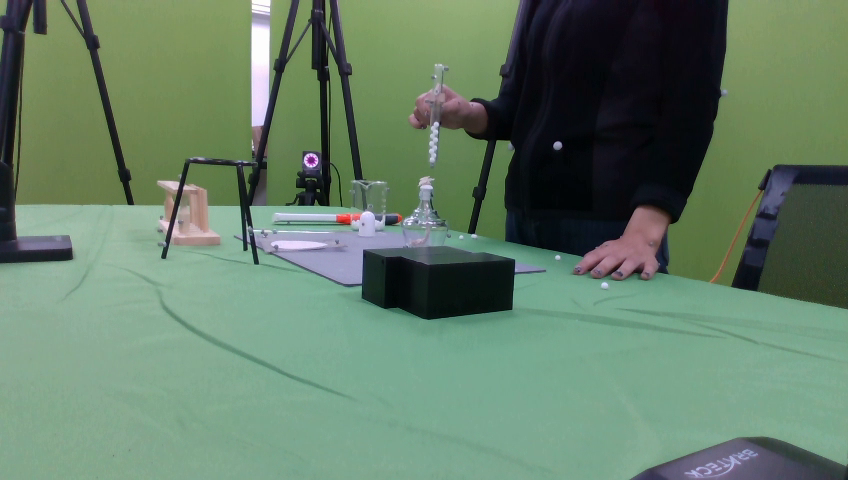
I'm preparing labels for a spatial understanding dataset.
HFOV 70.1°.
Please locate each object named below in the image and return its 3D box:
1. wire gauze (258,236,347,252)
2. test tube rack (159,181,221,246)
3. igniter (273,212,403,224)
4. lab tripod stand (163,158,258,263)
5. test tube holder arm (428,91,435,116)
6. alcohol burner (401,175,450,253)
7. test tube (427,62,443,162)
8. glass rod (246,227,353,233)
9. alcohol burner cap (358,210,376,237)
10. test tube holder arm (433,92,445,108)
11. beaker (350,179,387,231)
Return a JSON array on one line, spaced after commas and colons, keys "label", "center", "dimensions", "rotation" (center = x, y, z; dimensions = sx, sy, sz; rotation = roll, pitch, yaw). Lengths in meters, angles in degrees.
[{"label": "wire gauze", "center": [-0.189, 0.005, 0.931], "dimensions": [0.122, 0.011, 0.124], "rotation": [1, 7, -21]}, {"label": "test tube rack", "center": [-0.395, -0.050, 1.010], "dimensions": [0.067, 0.085, 0.241], "rotation": [-2, 8, -28]}, {"label": "igniter", "center": [-0.179, -0.048, 1.290], "dimensions": [0.278, 0.025, 0.057], "rotation": [-1, -2, -24]}, {"label": "lab tripod stand", "center": [-0.265, -0.041, 0.802], "dimensions": [0.148, 0.131, 0.148], "rotation": [4, 7, 0]}, {"label": "test tube holder arm", "center": [0.013, -0.222, 0.988], "dimensions": [0.013, 0.015, 0.178], "rotation": [11, 4, -2]}, {"label": "alcohol burner", "center": [0.003, -0.040, 0.933], "dimensions": [0.078, 0.119, 0.078], "rotation": [2, 9, 0]}, {"label": "test tube", "center": [0.017, -0.195, 0.921], "dimensions": [0.017, 0.150, 0.017], "rotation": [4, 2, 0]}, {"label": "glass rod", "center": [-0.224, -0.017, 1.109], "dimensions": [0.201, 0.008, 0.008], "rotation": [1, 7, -27]}, {"label": "alcohol burner cap", "center": [-0.104, -0.030, 1.098], "dimensions": [0.034, 0.048, 0.034], "rotation": [3, 7, 0]}, {"label": "test tube holder arm", "center": [0.021, -0.217, 0.944], "dimensions": [0.010, 0.015, 0.087], "rotation": [10, 4, -9]}, {"label": "beaker", "center": [-0.111, -0.069, 1.204], "dimensions": [0.074, 0.100, 0.084], "rotation": [2, 8, 0]}]
